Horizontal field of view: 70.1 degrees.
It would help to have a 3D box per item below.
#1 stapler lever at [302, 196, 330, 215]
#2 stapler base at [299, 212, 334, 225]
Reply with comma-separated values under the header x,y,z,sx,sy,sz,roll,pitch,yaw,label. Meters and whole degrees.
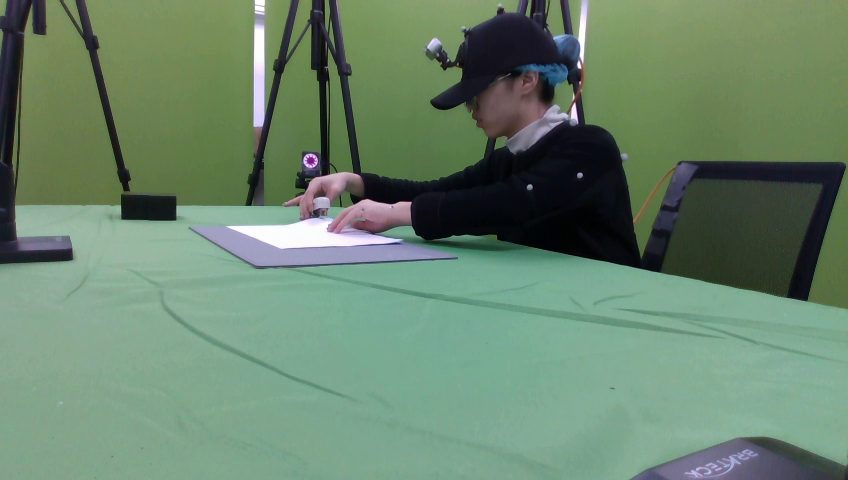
x,y,z,sx,sy,sz,roll,pitch,yaw,label
-0.226,-0.071,1.265,0.027,0.040,0.117,1,3,-28,stapler lever
-0.225,-0.046,1.265,0.041,0.024,0.130,1,3,-28,stapler base
